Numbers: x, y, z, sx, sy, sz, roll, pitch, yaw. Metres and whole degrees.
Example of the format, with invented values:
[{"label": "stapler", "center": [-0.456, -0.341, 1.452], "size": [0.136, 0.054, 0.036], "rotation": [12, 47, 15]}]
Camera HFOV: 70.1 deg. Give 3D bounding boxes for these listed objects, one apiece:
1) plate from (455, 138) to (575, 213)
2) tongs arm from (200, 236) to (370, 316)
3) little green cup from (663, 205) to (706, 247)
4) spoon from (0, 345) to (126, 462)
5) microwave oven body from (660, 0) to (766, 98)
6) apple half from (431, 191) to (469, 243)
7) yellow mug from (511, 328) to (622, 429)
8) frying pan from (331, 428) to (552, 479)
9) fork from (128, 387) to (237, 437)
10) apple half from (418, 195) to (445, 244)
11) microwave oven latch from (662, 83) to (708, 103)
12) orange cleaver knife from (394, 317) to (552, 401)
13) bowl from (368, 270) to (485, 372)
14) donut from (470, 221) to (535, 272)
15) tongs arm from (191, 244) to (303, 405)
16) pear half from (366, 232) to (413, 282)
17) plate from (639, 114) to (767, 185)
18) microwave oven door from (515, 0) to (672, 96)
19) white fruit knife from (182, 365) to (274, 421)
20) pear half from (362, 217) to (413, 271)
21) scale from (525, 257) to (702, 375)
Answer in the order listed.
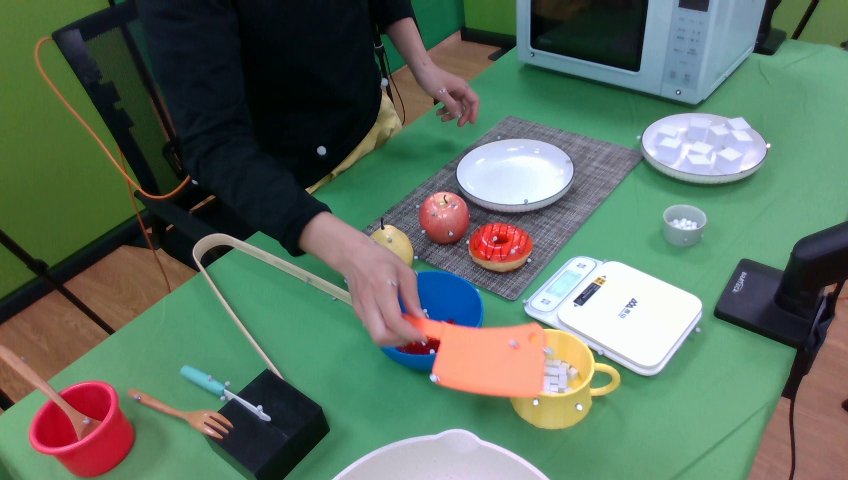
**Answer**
[{"label": "plate", "center": [0.159, -0.111, 1.063], "size": [0.209, 0.038, 0.208], "rotation": [-4, 40, 4]}, {"label": "tongs arm", "center": [-0.209, 0.063, 0.924], "size": [0.381, 0.026, 0.051], "rotation": [23, 53, 32]}, {"label": "little green cup", "center": [0.396, -0.020, 0.926], "size": [0.061, 0.039, 0.061], "rotation": [-4, 40, 4]}, {"label": "spoon", "center": [-0.434, 0.192, 0.720], "size": [0.194, 0.021, 0.042], "rotation": [47, 53, -7]}, {"label": "microwave oven body", "center": [0.472, -0.513, 1.317], "size": [0.438, 0.261, 0.327], "rotation": [26, 51, 34]}, {"label": "apple half", "center": [0.045, -0.038, 0.967], "size": [0.053, 0.075, 0.080], "rotation": [-14, 37, -11]}, {"label": "yellow mug", "center": [0.168, 0.164, 0.721], "size": [0.130, 0.064, 0.099], "rotation": [0, 40, 8]}, {"label": "frying pan", "center": [-0.089, 0.306, 0.564], "size": [0.487, 0.103, 0.306], "rotation": [10, 41, 7]}, {"label": "fork", "center": [-0.305, 0.208, 0.744], "size": [0.206, 0.019, 0.028], "rotation": [3, 42, 35]}, {"label": "apple half", "center": [0.009, -0.027, 0.959], "size": [0.033, 0.081, 0.080], "rotation": [-14, 41, -11]}, {"label": "microwave oven latch", "center": [0.517, -0.296, 1.204], "size": [0.078, 0.029, 0.030], "rotation": [28, 52, 35]}, {"label": "orange cleaver knife", "center": [0.038, 0.113, 0.601], "size": [0.209, 0.012, 0.077], "rotation": [1, 60, 44]}, {"label": "bowl", "center": [0.007, 0.119, 0.791], "size": [0.151, 0.077, 0.150], "rotation": [-5, 40, 4]}, {"label": "donut", "center": [0.119, 0.009, 0.923], "size": [0.099, 0.048, 0.098], "rotation": [-3, 39, 3]}, {"label": "tongs arm", "center": [-0.268, 0.111, 0.884], "size": [0.028, 0.028, 0.384], "rotation": [-36, 47, -18]}, {"label": "pear half", "center": [-0.048, 0.031, 0.893], "size": [0.071, 0.088, 0.031], "rotation": [-16, 40, -13]}, {"label": "plate", "center": [0.489, -0.157, 1.074], "size": [0.207, 0.039, 0.206], "rotation": [-4, 40, 4]}, {"label": "microwave oven door", "center": [0.343, -0.455, 1.259], "size": [0.353, 0.245, 0.039], "rotation": [26, 51, 33]}, {"label": "white fruit knife", "center": [-0.245, 0.188, 0.747], "size": [0.205, 0.027, 0.016], "rotation": [9, 41, 41]}, {"label": "pear half", "center": [-0.059, 0.002, 0.913], "size": [0.076, 0.110, 0.055], "rotation": [-14, 41, -13]}, {"label": "scale", "center": [0.254, 0.091, 0.821], "size": [0.199, 0.032, 0.149], "rotation": [28, 51, 35]}]
